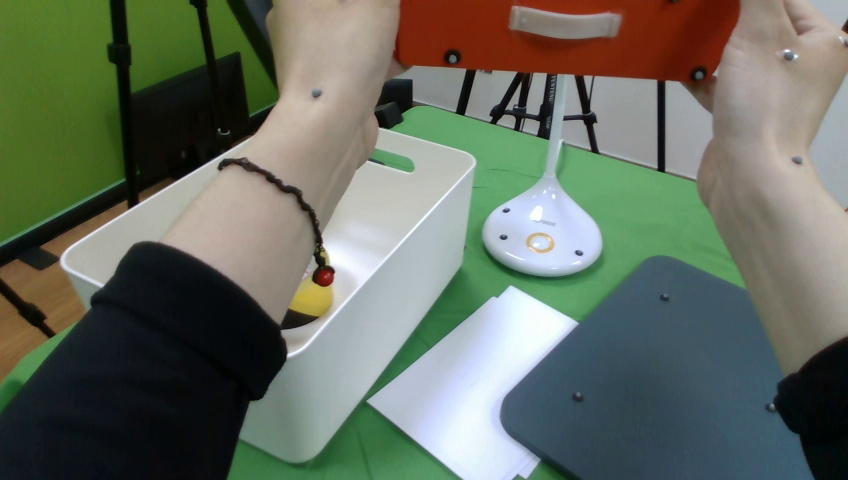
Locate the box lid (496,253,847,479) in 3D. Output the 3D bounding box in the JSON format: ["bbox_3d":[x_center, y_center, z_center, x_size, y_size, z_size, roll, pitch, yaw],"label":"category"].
[{"bbox_3d":[0.276,0.145,0.631,0.261,0.015,0.371,29,44,32],"label":"box lid"}]

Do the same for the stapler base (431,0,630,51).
[{"bbox_3d":[0.072,-0.156,0.399,0.130,0.024,0.041,15,50,11],"label":"stapler base"}]

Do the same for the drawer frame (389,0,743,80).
[{"bbox_3d":[0.083,-0.208,0.412,0.202,0.083,0.211,2,51,-1],"label":"drawer frame"}]

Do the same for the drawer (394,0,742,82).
[{"bbox_3d":[0.083,-0.202,0.412,0.194,0.074,0.209,3,51,0],"label":"drawer"}]

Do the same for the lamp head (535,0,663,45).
[{"bbox_3d":[0.151,-0.254,0.559,0.112,0.122,0.112,-11,-3,0],"label":"lamp head"}]

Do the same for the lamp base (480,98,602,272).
[{"bbox_3d":[0.157,-0.079,0.777,0.160,0.182,0.178,4,35,6],"label":"lamp base"}]

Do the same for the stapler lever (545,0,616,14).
[{"bbox_3d":[0.071,-0.171,0.380,0.118,0.040,0.026,16,50,10],"label":"stapler lever"}]

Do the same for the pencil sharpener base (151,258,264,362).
[{"bbox_3d":[-0.213,0.080,0.602,0.076,0.108,0.061,12,39,16],"label":"pencil sharpener base"}]

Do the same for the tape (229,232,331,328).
[{"bbox_3d":[-0.163,0.043,0.700,0.117,0.053,0.115,2,38,-1],"label":"tape"}]

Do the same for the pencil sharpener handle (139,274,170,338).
[{"bbox_3d":[-0.264,0.062,0.601,0.030,0.068,0.036,13,8,16],"label":"pencil sharpener handle"}]

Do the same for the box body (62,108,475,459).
[{"bbox_3d":[-0.130,0.020,0.651,0.253,0.162,0.363,19,40,20],"label":"box body"}]
